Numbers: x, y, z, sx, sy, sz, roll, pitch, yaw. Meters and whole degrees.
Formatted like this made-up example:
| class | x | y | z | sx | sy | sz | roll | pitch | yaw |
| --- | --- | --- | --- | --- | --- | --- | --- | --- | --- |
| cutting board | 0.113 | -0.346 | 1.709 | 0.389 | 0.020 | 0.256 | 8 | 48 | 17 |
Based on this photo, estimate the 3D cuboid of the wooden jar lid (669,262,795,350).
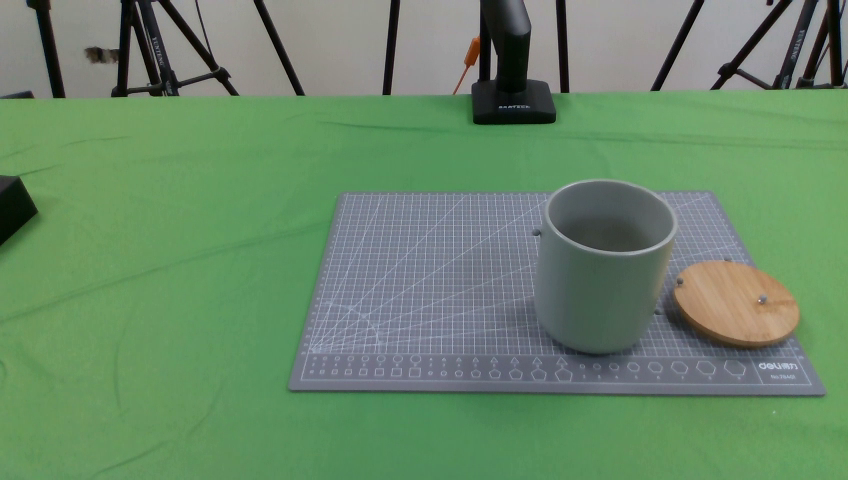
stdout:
| class | x | y | z | sx | sy | sz | roll | pitch | yaw |
| --- | --- | --- | --- | --- | --- | --- | --- | --- | --- |
| wooden jar lid | 0.285 | 0.063 | 0.568 | 0.108 | 0.021 | 0.107 | -1 | 38 | 1 |

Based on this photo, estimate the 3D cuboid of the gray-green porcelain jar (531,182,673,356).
| class | x | y | z | sx | sy | sz | roll | pitch | yaw |
| --- | --- | --- | --- | --- | --- | --- | --- | --- | --- |
| gray-green porcelain jar | 0.149 | 0.029 | 0.529 | 0.106 | 0.127 | 0.105 | -1 | 39 | 1 |
